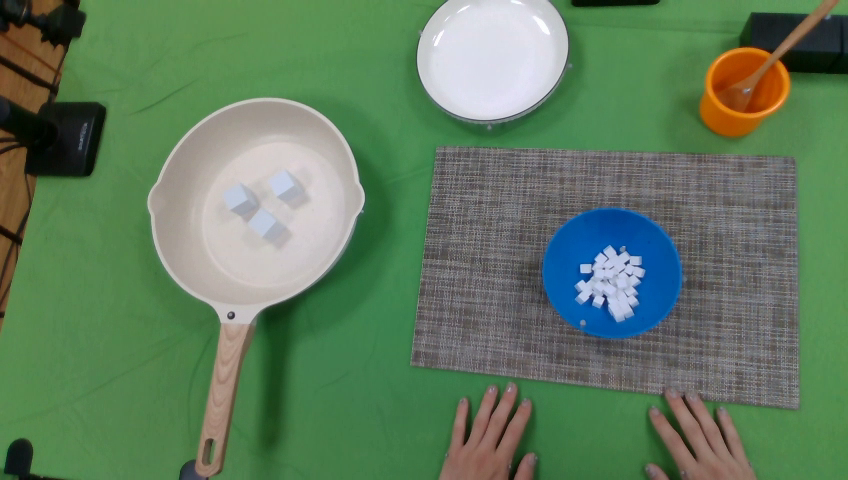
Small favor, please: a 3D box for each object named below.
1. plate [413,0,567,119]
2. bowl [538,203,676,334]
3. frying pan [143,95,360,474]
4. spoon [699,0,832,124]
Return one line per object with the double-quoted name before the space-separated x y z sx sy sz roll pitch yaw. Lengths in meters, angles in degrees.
"plate" 0.090 -0.258 0.832 0.207 0.039 0.206 -3 77 11
"bowl" 0.211 0.039 0.713 0.151 0.077 0.150 -2 76 10
"frying pan" -0.237 0.046 0.787 0.306 0.103 0.484 2 69 12
"spoon" 0.398 -0.212 0.704 0.022 0.194 0.041 -16 63 -40
